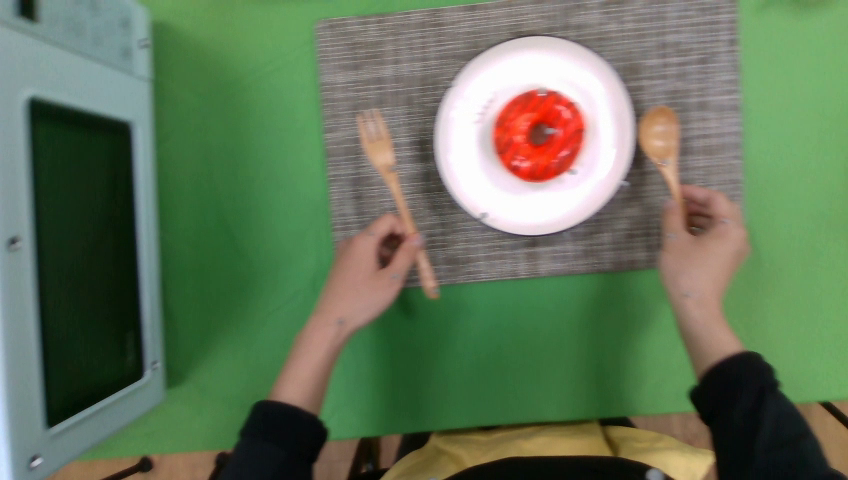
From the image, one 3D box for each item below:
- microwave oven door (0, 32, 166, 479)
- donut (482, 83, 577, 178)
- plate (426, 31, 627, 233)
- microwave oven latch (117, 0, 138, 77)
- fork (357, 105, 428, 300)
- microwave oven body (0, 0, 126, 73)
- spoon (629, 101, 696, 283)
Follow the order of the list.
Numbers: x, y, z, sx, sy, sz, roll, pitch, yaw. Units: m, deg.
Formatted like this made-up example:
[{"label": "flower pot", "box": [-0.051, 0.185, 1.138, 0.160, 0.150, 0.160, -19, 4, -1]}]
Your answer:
[{"label": "microwave oven door", "box": [-0.324, 0.011, 0.560, 0.039, 0.243, 0.356, -2, 94, 3]}, {"label": "donut", "box": [0.110, -0.114, 0.633, 0.099, 0.048, 0.099, 0, 96, 5]}, {"label": "plate", "box": [0.106, -0.112, 0.644, 0.209, 0.038, 0.209, 0, 95, 3]}, {"label": "microwave oven latch", "box": [-0.325, -0.215, 0.643, 0.030, 0.029, 0.079, -1, 95, 3]}, {"label": "fork", "box": [-0.031, -0.035, 0.614, 0.018, 0.028, 0.208, -20, 99, 10]}, {"label": "microwave oven body", "box": [-0.471, -0.027, 0.569, 0.326, 0.260, 0.442, -2, 95, 3]}, {"label": "spoon", "box": [0.250, -0.047, 0.622, 0.042, 0.021, 0.194, -19, 92, -16]}]
